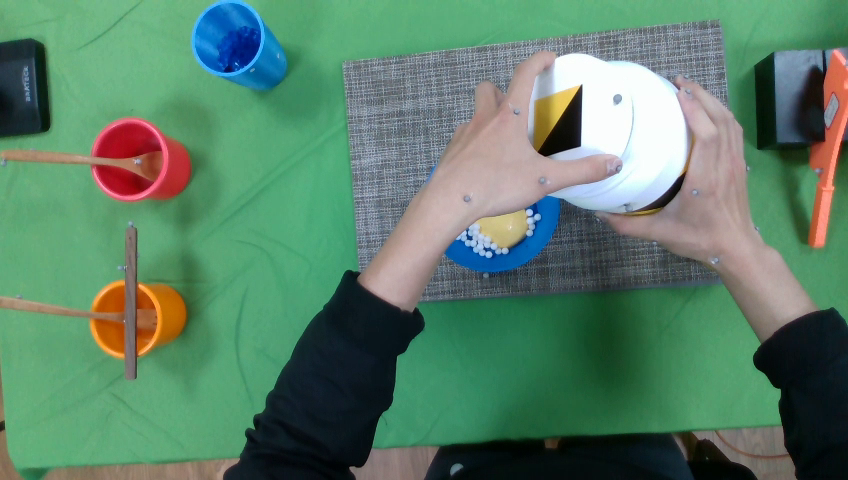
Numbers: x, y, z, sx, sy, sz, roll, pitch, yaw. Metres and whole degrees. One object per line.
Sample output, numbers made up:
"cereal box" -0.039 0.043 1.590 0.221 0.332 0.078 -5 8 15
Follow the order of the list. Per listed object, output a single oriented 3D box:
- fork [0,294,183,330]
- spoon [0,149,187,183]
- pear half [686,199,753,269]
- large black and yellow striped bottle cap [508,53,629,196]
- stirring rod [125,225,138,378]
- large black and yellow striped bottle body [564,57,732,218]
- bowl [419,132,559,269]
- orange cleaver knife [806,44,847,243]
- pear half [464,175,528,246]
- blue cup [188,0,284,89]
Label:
"fork" -0.389 0.083 0.706 0.209 0.018 0.028 14 101 -38
"spoon" -0.381 -0.093 0.709 0.195 0.021 0.041 1 92 -37
"pear half" 0.319 -0.004 0.651 0.056 0.110 0.076 -24 83 6
"large black and yellow striped bottle cap" 0.114 -0.094 0.496 0.019 0.114 0.115 6 90 -37
"stirring rod" -0.338 0.071 0.699 0.014 0.006 0.176 0 90 4
"large black and yellow striped bottle body" 0.189 -0.092 0.565 0.130 0.185 0.130 -4 84 47
"bowl" 0.074 -0.042 0.692 0.151 0.077 0.151 0 90 6
"orange cleaver knife" 0.433 -0.100 0.657 0.012 0.076 0.213 -3 118 11
"pear half" 0.079 -0.037 0.685 0.070 0.031 0.087 -31 83 3
"blue cup" -0.212 -0.221 0.713 0.092 0.100 0.092 0 89 8
